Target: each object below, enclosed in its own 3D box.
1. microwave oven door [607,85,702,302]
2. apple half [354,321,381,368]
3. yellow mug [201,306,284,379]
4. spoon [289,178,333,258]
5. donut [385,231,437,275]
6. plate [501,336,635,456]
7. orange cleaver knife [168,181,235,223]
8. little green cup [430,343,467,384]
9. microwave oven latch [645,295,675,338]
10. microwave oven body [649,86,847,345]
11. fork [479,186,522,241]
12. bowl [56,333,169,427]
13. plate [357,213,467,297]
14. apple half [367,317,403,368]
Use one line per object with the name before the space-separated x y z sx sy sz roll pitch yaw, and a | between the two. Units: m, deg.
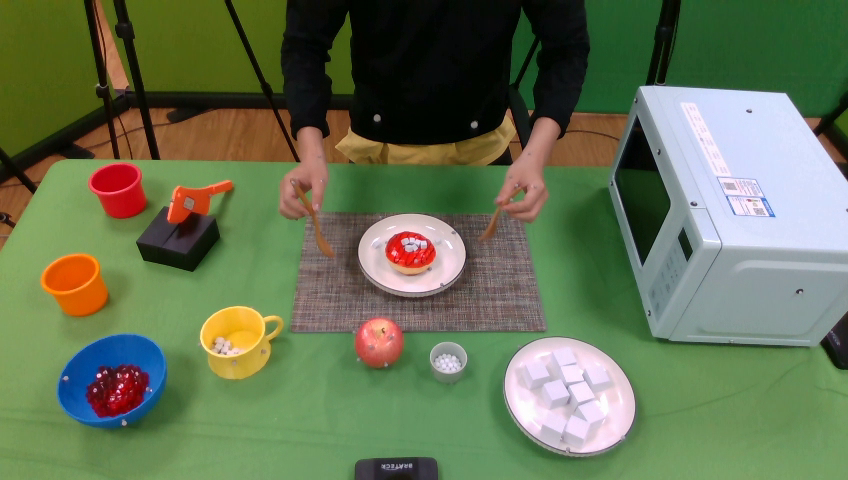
microwave oven door | 0.423 -0.094 1.140 0.039 0.245 0.353 2 46 -1
apple half | -0.097 0.176 0.985 0.033 0.081 0.080 -12 48 -20
yellow mug | -0.291 0.160 0.993 0.131 0.064 0.099 -23 51 -25
spoon | -0.193 -0.036 1.050 0.021 0.195 0.041 -16 46 -2
donut | -0.024 0.024 1.141 0.099 0.048 0.098 3 44 -3
plate | 0.225 0.248 0.964 0.208 0.039 0.206 2 46 -2
orange cleaver knife | -0.436 -0.077 1.196 0.012 0.077 0.211 16 15 10
little green cup | 0.039 0.203 0.993 0.061 0.039 0.061 2 46 -2
microwave oven latch | 0.412 0.134 1.061 0.030 0.029 0.078 3 45 0
microwave oven body | 0.568 -0.053 1.118 0.326 0.261 0.439 2 45 -1
fork | 0.131 -0.042 1.046 0.028 0.208 0.018 -18 68 -19
bowl | -0.456 0.223 0.912 0.151 0.077 0.150 3 45 -2
plate | -0.023 0.031 1.149 0.209 0.038 0.208 3 46 -2
apple half | -0.062 0.167 0.998 0.053 0.075 0.080 -11 44 -21
